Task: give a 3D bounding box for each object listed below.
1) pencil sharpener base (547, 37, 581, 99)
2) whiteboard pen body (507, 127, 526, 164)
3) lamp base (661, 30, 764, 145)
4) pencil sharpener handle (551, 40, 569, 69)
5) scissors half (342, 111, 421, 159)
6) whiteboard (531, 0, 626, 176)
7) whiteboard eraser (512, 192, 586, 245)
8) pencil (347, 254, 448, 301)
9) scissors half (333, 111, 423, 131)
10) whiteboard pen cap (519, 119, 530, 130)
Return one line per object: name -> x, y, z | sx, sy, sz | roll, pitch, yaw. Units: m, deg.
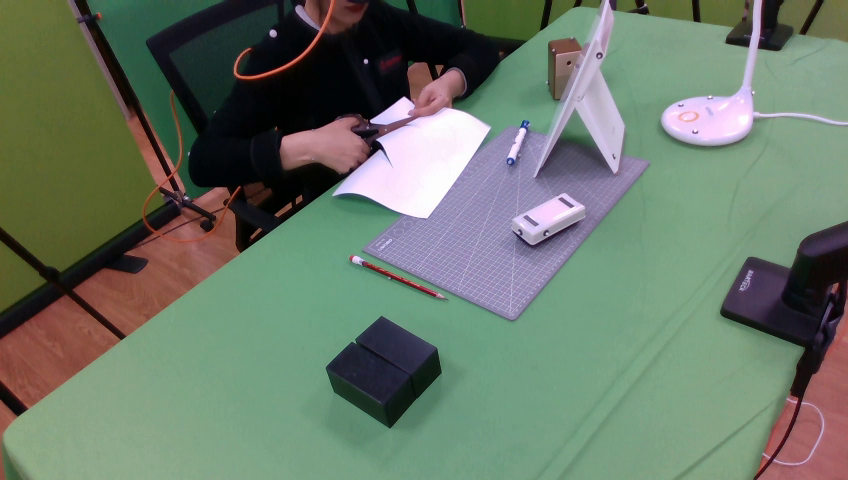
pencil sharpener base -> 0.299, -0.368, 1.290 | 0.061, 0.107, 0.076 | -8, 40, 2
whiteboard pen body -> 0.181, -0.189, 1.163 | 0.017, 0.017, 0.140 | 7, 42, 19
lamp base -> 0.535, -0.287, 1.096 | 0.179, 0.181, 0.159 | -10, 40, -4
pencil sharpener handle -> 0.291, -0.409, 1.321 | 0.036, 0.068, 0.030 | 2, 40, -6
scissors half -> -0.082, -0.207, 1.180 | 0.175, 0.040, 0.012 | -31, 26, 9
whiteboard -> 0.320, -0.258, 1.050 | 0.144, 0.306, 0.217 | 22, 45, 5
whiteboard eraser -> 0.199, -0.032, 0.962 | 0.113, 0.042, 0.055 | -27, 43, -20
pencil -> -0.044, 0.058, 0.933 | 0.192, 0.012, 0.012 | 22, 49, 28
scissors half -> -0.088, -0.227, 1.169 | 0.176, 0.040, 0.013 | 1, 31, -8
whiteboard pen cap -> 0.199, -0.227, 1.204 | 0.018, 0.018, 0.033 | 7, 41, 18
